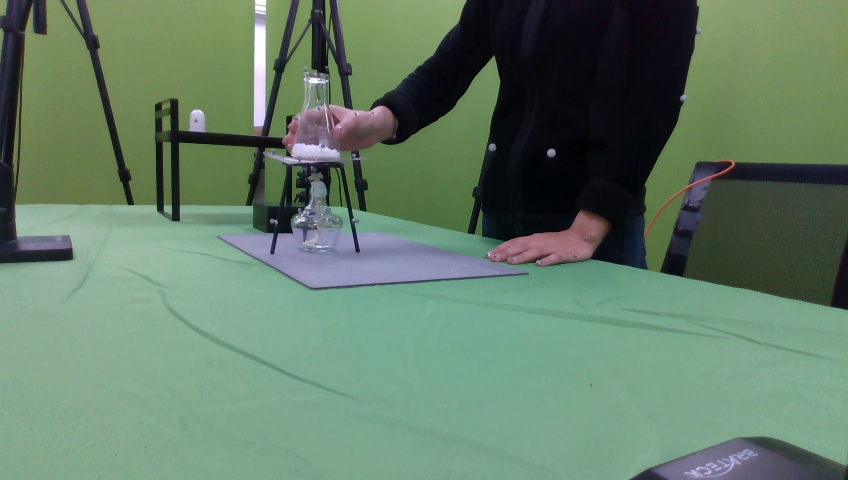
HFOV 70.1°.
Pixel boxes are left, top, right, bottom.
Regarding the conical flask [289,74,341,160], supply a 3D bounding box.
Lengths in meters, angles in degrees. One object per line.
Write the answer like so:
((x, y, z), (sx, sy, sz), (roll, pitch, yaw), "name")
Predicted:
((-0.158, -0.178, 0.883), (0.075, 0.122, 0.075), (2, 7, 0), "conical flask")

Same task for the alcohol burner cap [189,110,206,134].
((-0.464, -0.242, 1.240), (0.034, 0.048, 0.034), (4, 6, 0), "alcohol burner cap")

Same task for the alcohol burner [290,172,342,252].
((-0.159, -0.041, 0.899), (0.078, 0.119, 0.078), (5, 8, 0), "alcohol burner")

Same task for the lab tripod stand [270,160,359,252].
((-0.167, -0.051, 0.892), (0.148, 0.131, 0.148), (3, 9, 0), "lab tripod stand")

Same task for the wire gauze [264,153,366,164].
((-0.160, -0.118, 0.888), (0.122, 0.011, 0.124), (-3, 10, -32), "wire gauze")
